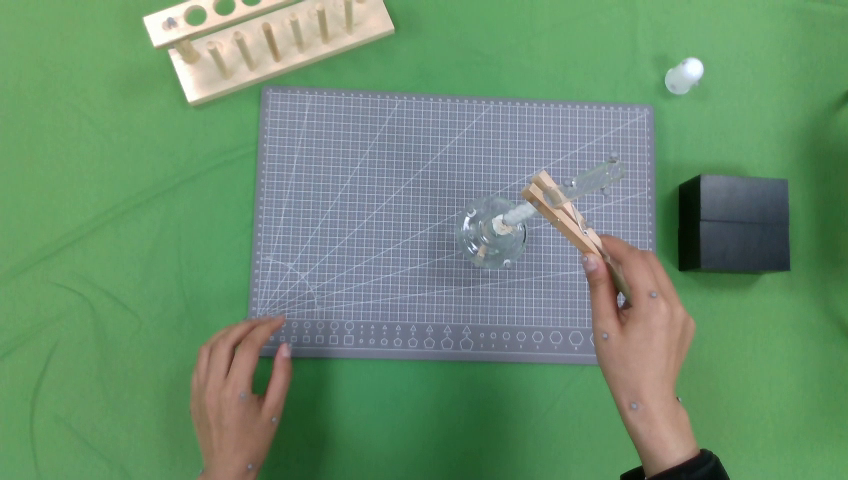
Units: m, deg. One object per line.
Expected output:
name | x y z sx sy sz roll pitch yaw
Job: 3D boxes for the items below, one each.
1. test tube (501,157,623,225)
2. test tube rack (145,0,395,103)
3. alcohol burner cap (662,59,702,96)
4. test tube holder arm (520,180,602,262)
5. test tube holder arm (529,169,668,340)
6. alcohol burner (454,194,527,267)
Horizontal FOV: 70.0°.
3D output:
test tube | 0.100 -0.034 0.473 0.017 0.150 0.017 5 77 -21
test tube rack | -0.155 -0.232 0.649 0.242 0.085 0.066 -22 84 -6
alcohol burner cap | 0.301 -0.189 0.700 0.034 0.048 0.033 0 82 -3
test tube holder arm | 0.111 -0.014 0.482 0.088 0.015 0.010 42 67 -14
test tube holder arm | 0.145 0.014 0.494 0.179 0.015 0.013 49 67 -11
alcohol burner | 0.071 -0.012 0.623 0.078 0.119 0.077 1 84 -5
